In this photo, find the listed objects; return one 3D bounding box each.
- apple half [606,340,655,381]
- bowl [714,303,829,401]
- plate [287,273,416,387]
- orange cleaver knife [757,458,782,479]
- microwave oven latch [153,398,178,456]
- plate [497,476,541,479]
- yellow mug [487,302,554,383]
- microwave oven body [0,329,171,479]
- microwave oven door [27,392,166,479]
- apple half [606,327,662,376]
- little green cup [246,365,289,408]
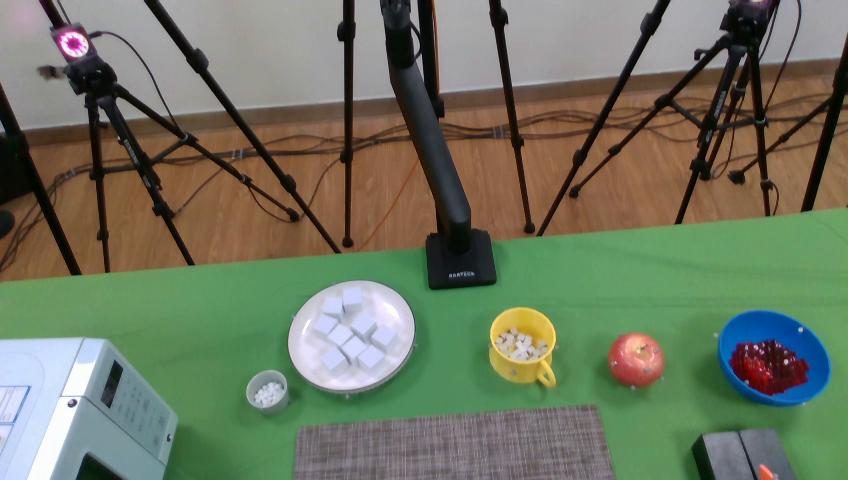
[{"bbox_3d":[0.300,0.189,0.902,0.080,0.082,0.033,31,57,25],"label":"apple half"},{"bbox_3d":[0.498,0.177,0.894,0.151,0.077,0.150,-2,52,3],"label":"bowl"},{"bbox_3d":[-0.116,0.148,0.989,0.207,0.039,0.205,-2,52,3],"label":"plate"},{"bbox_3d":[0.435,0.377,0.734,0.012,0.077,0.210,-8,84,3],"label":"orange cleaver knife"},{"bbox_3d":[-0.384,0.273,0.885,0.030,0.030,0.078,-1,53,3],"label":"microwave oven latch"},{"bbox_3d":[0.125,0.408,0.762,0.209,0.038,0.207,-2,52,3],"label":"plate"},{"bbox_3d":[0.158,0.166,0.936,0.100,0.064,0.129,-28,56,-17],"label":"yellow mug"},{"bbox_3d":[-0.539,0.356,0.708,0.326,0.262,0.437,-2,52,2],"label":"microwave oven body"},{"bbox_3d":[-0.394,0.382,0.671,0.039,0.246,0.352,-2,52,3],"label":"microwave oven door"},{"bbox_3d":[0.324,0.165,0.920,0.080,0.075,0.053,29,56,28],"label":"apple half"},{"bbox_3d":[-0.238,0.228,0.932,0.061,0.039,0.061,-1,52,2],"label":"little green cup"}]
